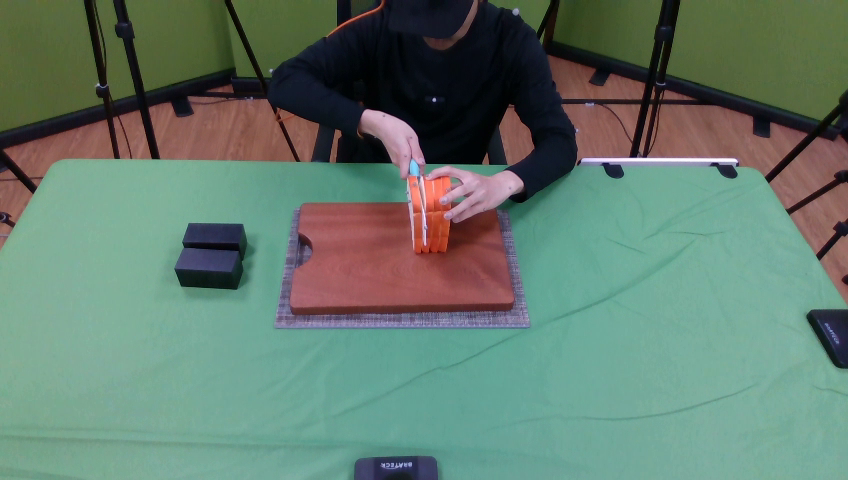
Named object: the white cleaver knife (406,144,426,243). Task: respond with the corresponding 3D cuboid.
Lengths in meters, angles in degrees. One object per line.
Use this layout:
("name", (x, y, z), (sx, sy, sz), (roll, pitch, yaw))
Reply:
("white cleaver knife", (-0.016, -0.095, 1.167), (0.021, 0.066, 0.284), (-1, 39, -6))

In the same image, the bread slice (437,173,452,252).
("bread slice", (0.038, -0.057, 1.137), (0.018, 0.135, 0.106), (-1, 48, -4))

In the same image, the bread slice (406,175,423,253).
("bread slice", (-0.017, -0.056, 1.134), (0.019, 0.132, 0.104), (-7, 45, -4))
